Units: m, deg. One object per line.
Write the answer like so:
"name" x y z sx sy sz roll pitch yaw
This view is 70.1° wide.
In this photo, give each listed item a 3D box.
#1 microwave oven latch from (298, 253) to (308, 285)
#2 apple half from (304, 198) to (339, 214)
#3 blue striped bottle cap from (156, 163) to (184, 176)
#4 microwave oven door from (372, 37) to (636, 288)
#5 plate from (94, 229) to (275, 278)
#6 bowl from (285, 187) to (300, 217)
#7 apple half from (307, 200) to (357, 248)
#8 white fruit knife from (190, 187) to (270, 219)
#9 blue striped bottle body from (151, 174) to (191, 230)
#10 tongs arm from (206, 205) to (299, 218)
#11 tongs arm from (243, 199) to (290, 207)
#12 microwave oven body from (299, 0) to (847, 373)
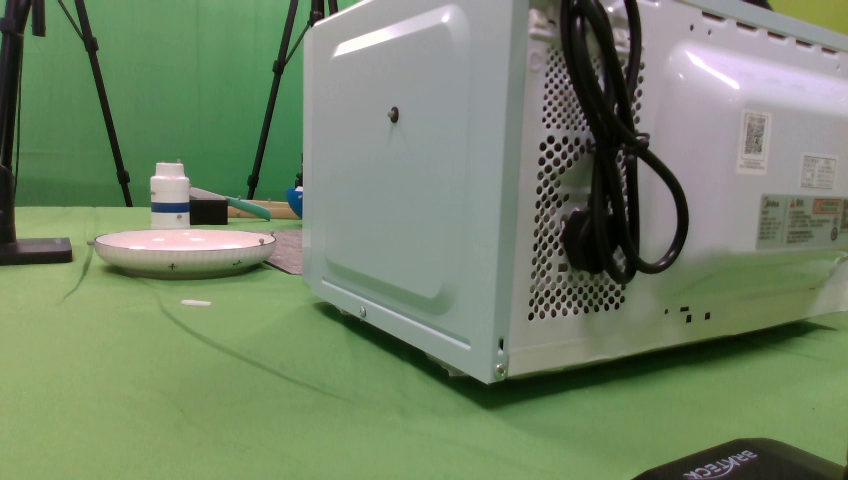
"microwave oven latch" -0.081 0.027 0.583 0.079 0.029 0.030 -2 8 -33
"apple half" -0.217 -0.073 1.274 0.081 0.033 0.081 2 9 0
"blue striped bottle cap" -0.438 -0.122 1.045 0.044 0.020 0.044 5 6 0
"microwave oven door" 0.110 -0.080 0.686 0.358 0.243 0.039 -2 9 -33
"plate" -0.291 0.016 0.749 0.208 0.039 0.207 2 7 0
"bowl" -0.217 -0.069 1.274 0.151 0.077 0.151 2 8 0
"apple half" -0.136 -0.024 0.942 0.053 0.074 0.081 15 10 38
"white fruit knife" -0.413 -0.081 1.270 0.208 0.027 0.016 17 13 -41
"blue striped bottle body" -0.439 -0.071 1.052 0.063 0.120 0.063 2 8 0
"tongs arm" -0.302 -0.065 1.406 0.389 0.028 0.028 1 4 -14
"tongs arm" -0.309 -0.079 1.486 0.385 0.026 0.051 3 7 -1
"microwave oven body" 0.152 -0.055 0.542 0.444 0.260 0.324 -2 7 -33
